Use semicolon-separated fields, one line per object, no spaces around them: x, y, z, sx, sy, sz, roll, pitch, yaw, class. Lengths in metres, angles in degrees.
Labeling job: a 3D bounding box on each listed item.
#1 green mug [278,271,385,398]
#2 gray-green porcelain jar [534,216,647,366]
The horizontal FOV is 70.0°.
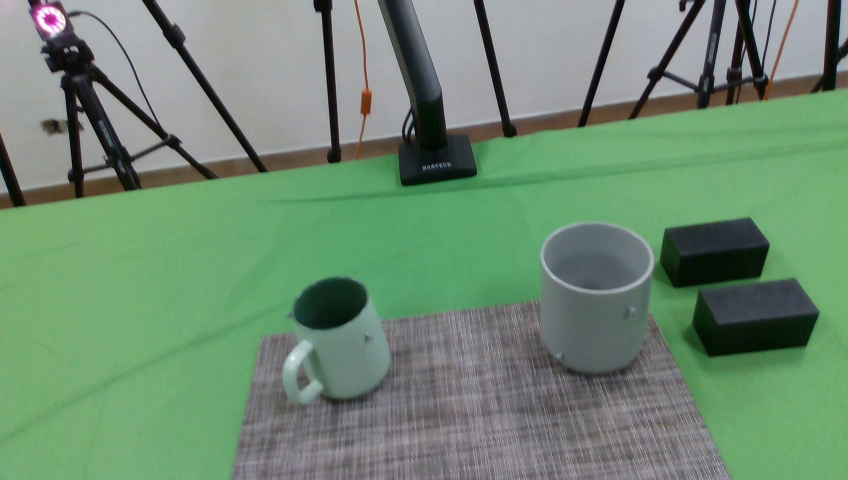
-0.101;0.106;0.620;0.092;0.106;0.125;17;46;27;green mug
0.165;0.056;0.614;0.106;0.128;0.105;-6;39;5;gray-green porcelain jar
